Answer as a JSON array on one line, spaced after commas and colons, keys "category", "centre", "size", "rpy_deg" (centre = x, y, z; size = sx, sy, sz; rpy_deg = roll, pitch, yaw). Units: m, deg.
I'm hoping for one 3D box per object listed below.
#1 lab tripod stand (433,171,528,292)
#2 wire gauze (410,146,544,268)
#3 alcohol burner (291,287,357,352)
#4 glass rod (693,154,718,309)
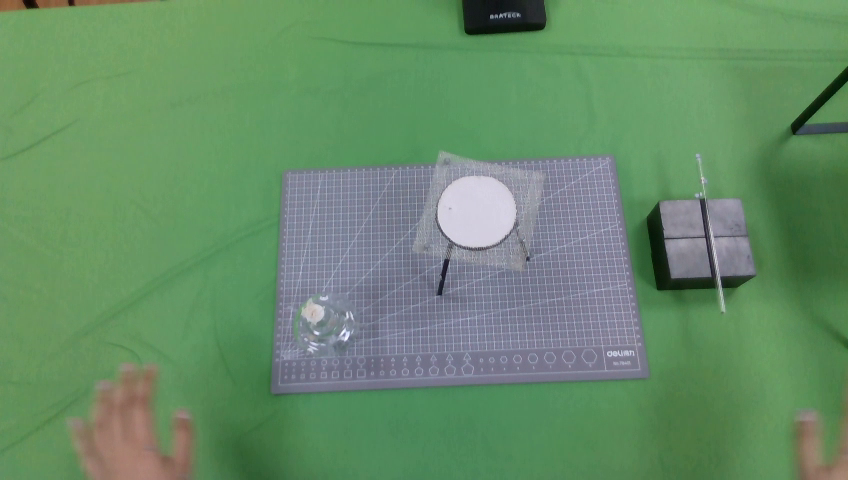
[{"category": "lab tripod stand", "centre": [0.055, -0.015, 0.715], "size": [0.148, 0.132, 0.147], "rpy_deg": [-1, 70, 3]}, {"category": "wire gauze", "centre": [0.058, -0.037, 0.651], "size": [0.121, 0.011, 0.124], "rpy_deg": [14, 71, 7]}, {"category": "alcohol burner", "centre": [-0.117, 0.088, 0.693], "size": [0.078, 0.120, 0.077], "rpy_deg": [0, 72, 1]}, {"category": "glass rod", "centre": [0.338, -0.014, 0.727], "size": [0.008, 0.008, 0.198], "rpy_deg": [1, 71, 2]}]
